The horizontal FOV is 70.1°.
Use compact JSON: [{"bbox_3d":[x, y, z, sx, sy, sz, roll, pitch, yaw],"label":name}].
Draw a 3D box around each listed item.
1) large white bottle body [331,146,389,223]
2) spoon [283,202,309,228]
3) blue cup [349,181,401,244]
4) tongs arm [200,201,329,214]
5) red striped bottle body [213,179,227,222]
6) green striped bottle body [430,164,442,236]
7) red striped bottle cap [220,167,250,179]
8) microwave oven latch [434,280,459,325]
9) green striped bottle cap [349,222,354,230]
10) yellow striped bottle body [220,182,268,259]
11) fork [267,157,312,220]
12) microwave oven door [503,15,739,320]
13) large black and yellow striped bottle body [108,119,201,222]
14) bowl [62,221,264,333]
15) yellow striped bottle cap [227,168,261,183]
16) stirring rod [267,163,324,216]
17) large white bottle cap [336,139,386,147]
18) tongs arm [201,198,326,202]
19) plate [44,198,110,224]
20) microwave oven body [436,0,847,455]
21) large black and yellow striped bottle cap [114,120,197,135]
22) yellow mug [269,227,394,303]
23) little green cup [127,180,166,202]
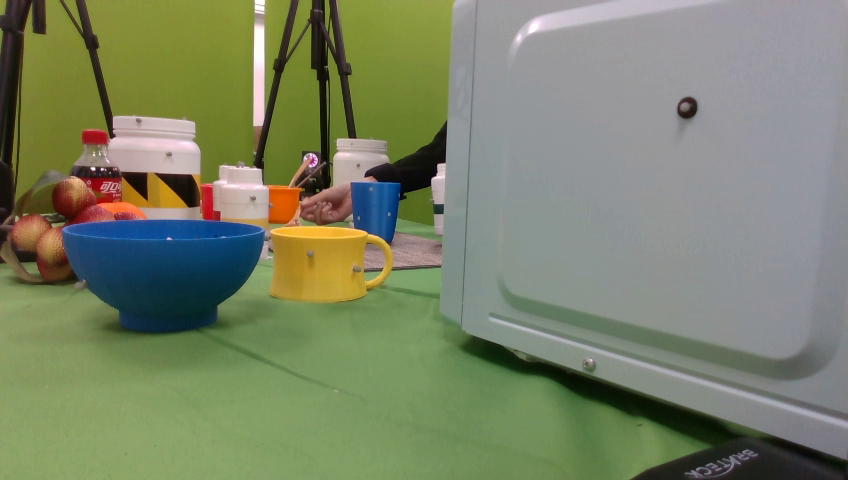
[{"bbox_3d":[-0.146,-0.136,1.388,0.131,0.184,0.130,2,8,0],"label":"large white bottle body"},{"bbox_3d":[-0.231,-0.043,1.111,0.041,0.021,0.193,-3,22,2],"label":"spoon"},{"bbox_3d":[-0.082,-0.046,1.009,0.093,0.100,0.092,1,6,0],"label":"blue cup"},{"bbox_3d":[-0.378,-0.079,1.440,0.387,0.026,0.050,-4,8,-44],"label":"tongs arm"},{"bbox_3d":[-0.284,-0.048,0.909,0.063,0.119,0.063,3,12,0],"label":"red striped bottle body"},{"bbox_3d":[0.044,-0.068,1.009,0.063,0.119,0.063,-4,5,1],"label":"green striped bottle body"},{"bbox_3d":[-0.281,-0.100,0.901,0.044,0.017,0.044,-1,5,0],"label":"red striped bottle cap"},{"bbox_3d":[0.044,0.045,0.470,0.079,0.029,0.030,-2,8,-39],"label":"microwave oven latch"},{"bbox_3d":[-0.122,-0.024,1.155,0.044,0.020,0.044,-3,9,1],"label":"green striped bottle cap"},{"bbox_3d":[-0.246,-0.036,0.825,0.063,0.120,0.063,3,8,0],"label":"yellow striped bottle body"},{"bbox_3d":[-0.289,-0.116,1.321,0.028,0.019,0.207,6,51,18],"label":"fork"},{"bbox_3d":[0.218,-0.065,0.600,0.358,0.243,0.039,-4,10,-41],"label":"microwave oven door"},{"bbox_3d":[-0.412,-0.088,0.930,0.131,0.184,0.130,3,7,0],"label":"large black and yellow striped bottle body"},{"bbox_3d":[-0.208,0.029,0.496,0.151,0.077,0.151,2,7,0],"label":"bowl"},{"bbox_3d":[-0.243,-0.087,0.818,0.044,0.018,0.044,3,6,0],"label":"yellow striped bottle cap"},{"bbox_3d":[-0.278,-0.104,1.294,0.176,0.006,0.014,-47,25,-18],"label":"stirring rod"},{"bbox_3d":[-0.143,-0.219,1.375,0.115,0.018,0.115,2,8,0],"label":"large white bottle cap"},{"bbox_3d":[-0.433,-0.090,1.508,0.390,0.028,0.028,-1,2,-29],"label":"tongs arm"},{"bbox_3d":[-0.617,-0.056,1.179,0.209,0.038,0.209,3,7,0],"label":"plate"},{"bbox_3d":[0.279,-0.040,0.465,0.444,0.260,0.324,-3,9,-41],"label":"microwave oven body"},{"bbox_3d":[-0.407,-0.171,0.920,0.115,0.019,0.115,2,9,0],"label":"large black and yellow striped bottle cap"},{"bbox_3d":[-0.094,0.023,0.629,0.131,0.064,0.099,0,7,-22],"label":"yellow mug"},{"bbox_3d":[-0.486,-0.086,1.061,0.061,0.038,0.061,1,7,0],"label":"little green cup"}]
